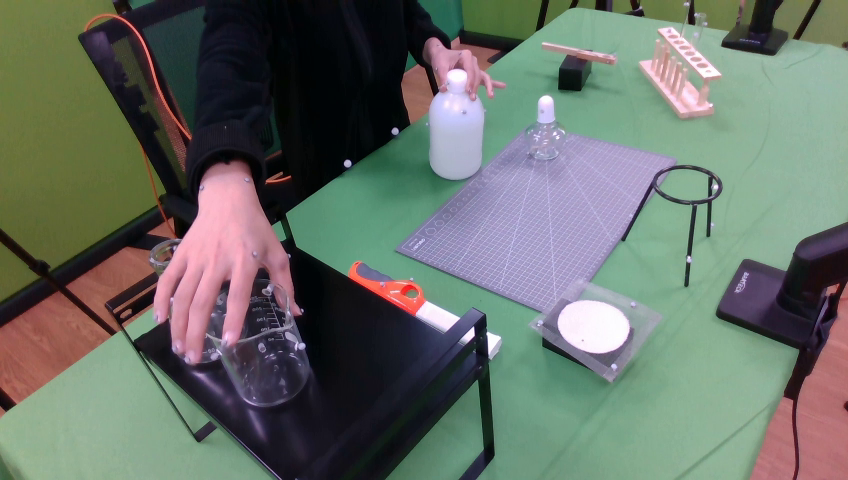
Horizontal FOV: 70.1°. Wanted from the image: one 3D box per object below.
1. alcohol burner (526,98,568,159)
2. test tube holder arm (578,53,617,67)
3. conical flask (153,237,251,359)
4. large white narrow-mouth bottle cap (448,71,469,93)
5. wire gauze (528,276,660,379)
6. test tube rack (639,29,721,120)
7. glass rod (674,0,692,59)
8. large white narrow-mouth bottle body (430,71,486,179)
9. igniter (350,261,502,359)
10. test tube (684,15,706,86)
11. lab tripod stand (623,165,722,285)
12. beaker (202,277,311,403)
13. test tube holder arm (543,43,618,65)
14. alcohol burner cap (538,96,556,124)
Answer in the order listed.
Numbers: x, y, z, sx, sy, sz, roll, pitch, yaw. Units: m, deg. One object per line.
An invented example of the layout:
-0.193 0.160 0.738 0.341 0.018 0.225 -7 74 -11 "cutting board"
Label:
0.228 -0.210 1.118 0.078 0.119 0.077 -5 43 5 "alcohol burner"
0.376 -0.393 1.314 0.087 0.015 0.010 26 51 32 "test tube holder arm"
-0.224 0.054 0.597 0.075 0.122 0.075 -5 41 5 "conical flask"
0.059 -0.266 1.015 0.038 0.024 0.037 0 47 1 "large white narrow-mouth bottle cap"
0.214 0.103 0.763 0.124 0.011 0.122 30 52 35 "wire gauze"
0.527 -0.351 1.262 0.067 0.085 0.241 -8 40 1 "test tube rack"
0.537 -0.437 1.257 0.008 0.200 0.008 0 39 1 "glass rod"
0.060 -0.209 1.079 0.102 0.195 0.101 0 47 1 "large white narrow-mouth bottle body"
-0.009 0.094 0.870 0.274 0.025 0.057 25 60 33 "igniter"
0.541 -0.378 1.216 0.017 0.151 0.017 -2 44 3 "test tube"
0.365 -0.030 0.874 0.148 0.132 0.147 -6 41 6 "lab tripod stand"
-0.146 0.095 0.555 0.083 0.101 0.074 11 44 20 "beaker"
0.345 -0.413 1.340 0.177 0.015 0.013 25 50 31 "test tube holder arm"
0.222 -0.237 1.095 0.034 0.048 0.033 -7 35 5 "alcohol burner cap"
